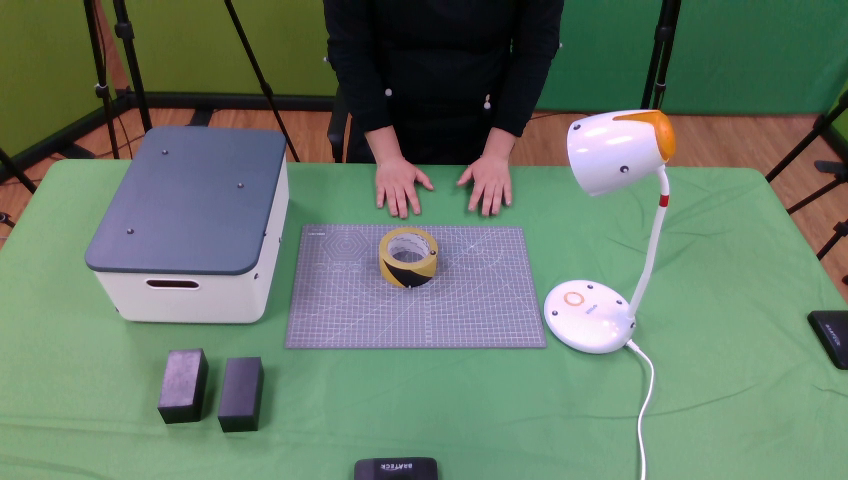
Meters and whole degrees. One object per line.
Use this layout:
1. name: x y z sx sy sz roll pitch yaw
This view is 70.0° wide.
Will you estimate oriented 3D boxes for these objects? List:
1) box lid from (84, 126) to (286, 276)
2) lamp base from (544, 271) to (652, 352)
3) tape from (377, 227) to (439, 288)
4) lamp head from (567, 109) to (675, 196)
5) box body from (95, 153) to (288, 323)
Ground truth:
1. box lid: -0.393 -0.081 1.046 0.263 0.015 0.369 2 46 -3
2. lamp base: 0.310 0.086 1.029 0.178 0.181 0.160 32 52 21
3. tape: -0.031 0.032 1.141 0.117 0.053 0.116 2 46 -2
4. lamp head: 0.272 -0.123 0.818 0.122 0.113 0.112 -9 35 37
5. box body: -0.396 -0.031 1.100 0.254 0.161 0.361 1 46 -3
